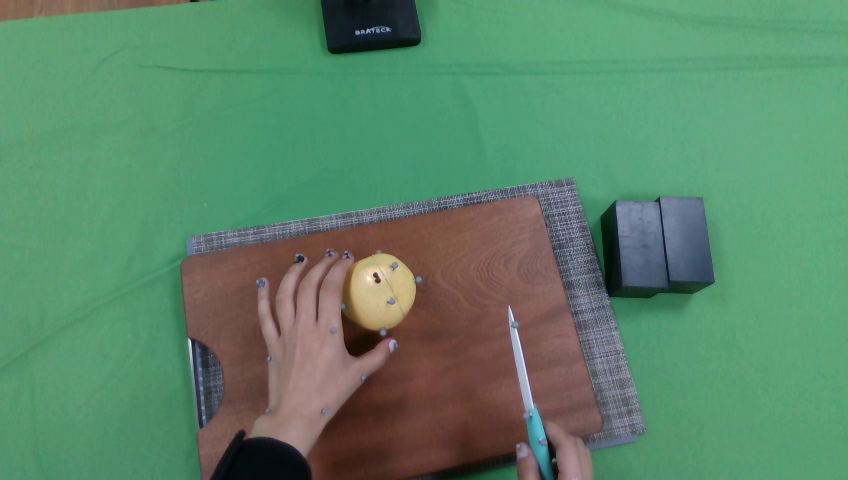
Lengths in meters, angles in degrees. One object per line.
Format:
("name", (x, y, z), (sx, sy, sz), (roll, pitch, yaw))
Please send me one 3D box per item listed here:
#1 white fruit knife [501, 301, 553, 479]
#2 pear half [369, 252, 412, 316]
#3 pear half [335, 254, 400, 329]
("white fruit knife", (0.092, 0.152, 0.539), (0.016, 0.027, 0.208), (-16, 100, -15))
("pear half", (-0.030, 0.038, 0.609), (0.031, 0.088, 0.070), (-32, 72, -13))
("pear half", (-0.059, 0.052, 0.592), (0.056, 0.110, 0.076), (-31, 73, -12))
